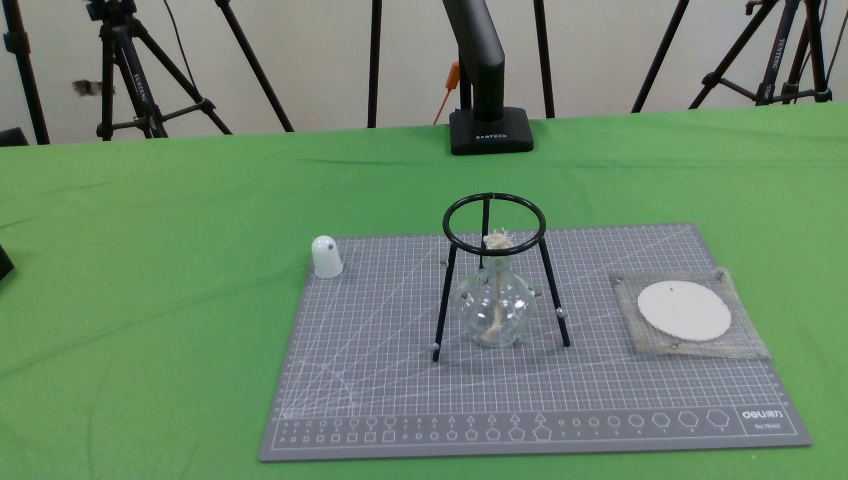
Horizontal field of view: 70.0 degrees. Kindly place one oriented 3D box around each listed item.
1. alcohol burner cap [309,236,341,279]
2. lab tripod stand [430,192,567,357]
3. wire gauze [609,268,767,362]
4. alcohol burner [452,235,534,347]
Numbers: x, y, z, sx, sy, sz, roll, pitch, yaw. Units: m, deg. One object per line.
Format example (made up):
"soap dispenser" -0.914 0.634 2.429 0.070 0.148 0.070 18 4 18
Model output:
"alcohol burner cap" -0.112 0.016 0.674 0.034 0.048 0.033 -1 39 2
"lab tripod stand" 0.066 0.033 0.562 0.148 0.132 0.147 -1 37 1
"wire gauze" 0.256 0.070 0.601 0.125 0.011 0.120 1 39 3
"alcohol burner" 0.065 0.043 0.566 0.078 0.120 0.077 -1 38 1
